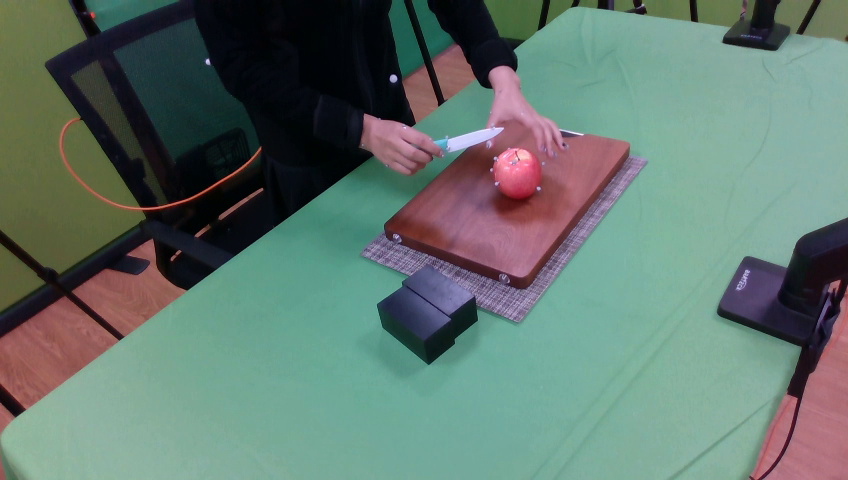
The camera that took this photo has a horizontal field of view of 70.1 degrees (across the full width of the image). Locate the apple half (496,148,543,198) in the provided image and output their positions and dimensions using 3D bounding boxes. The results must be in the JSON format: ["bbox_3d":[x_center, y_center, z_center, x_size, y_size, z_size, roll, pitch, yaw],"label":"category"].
[{"bbox_3d":[0.164,-0.104,0.991,0.081,0.075,0.053,-31,48,-28],"label":"apple half"}]

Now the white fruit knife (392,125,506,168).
[{"bbox_3d":[0.034,-0.149,0.947,0.206,0.027,0.016,-12,34,29],"label":"white fruit knife"}]

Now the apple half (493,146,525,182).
[{"bbox_3d":[0.139,-0.122,1.015,0.081,0.081,0.032,-34,49,-26],"label":"apple half"}]
